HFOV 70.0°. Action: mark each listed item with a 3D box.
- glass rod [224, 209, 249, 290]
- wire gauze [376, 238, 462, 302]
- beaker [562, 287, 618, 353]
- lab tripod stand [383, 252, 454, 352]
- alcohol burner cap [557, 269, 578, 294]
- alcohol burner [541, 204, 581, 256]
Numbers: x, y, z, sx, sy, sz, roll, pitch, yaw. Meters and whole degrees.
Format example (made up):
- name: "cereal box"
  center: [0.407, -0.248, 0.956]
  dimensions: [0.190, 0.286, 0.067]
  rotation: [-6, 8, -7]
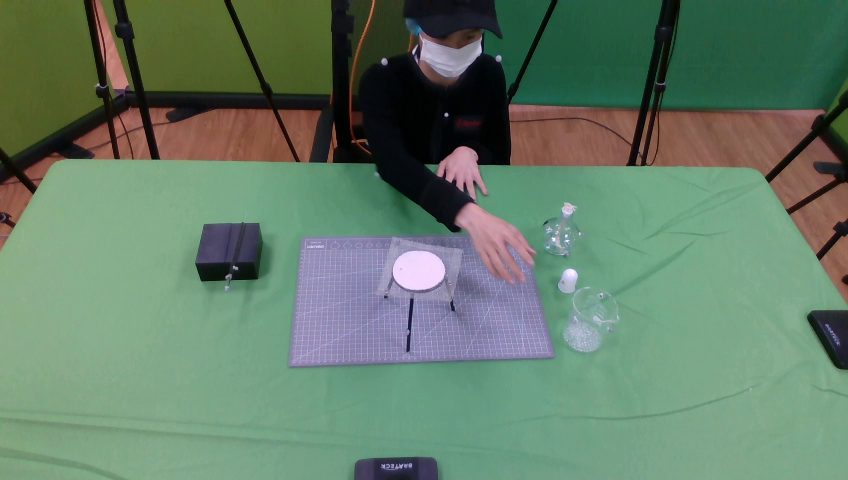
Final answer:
- name: "glass rod"
  center: [-0.340, 0.013, 1.102]
  dimensions: [0.008, 0.008, 0.198]
  rotation: [2, 45, -3]
- name: "wire gauze"
  center: [-0.006, 0.048, 0.977]
  dimensions: [0.121, 0.011, 0.124]
  rotation: [9, 46, 5]
- name: "beaker"
  center: [0.281, 0.140, 1.032]
  dimensions: [0.083, 0.101, 0.074]
  rotation: [33, 53, 24]
- name: "lab tripod stand"
  center: [-0.015, 0.094, 1.025]
  dimensions: [0.148, 0.132, 0.147]
  rotation: [1, 46, -1]
- name: "alcohol burner cap"
  center: [0.270, 0.074, 1.135]
  dimensions: [0.034, 0.048, 0.033]
  rotation: [3, 47, -3]
- name: "alcohol burner"
  center: [0.271, -0.026, 1.182]
  dimensions: [0.078, 0.119, 0.077]
  rotation: [4, 45, -3]
